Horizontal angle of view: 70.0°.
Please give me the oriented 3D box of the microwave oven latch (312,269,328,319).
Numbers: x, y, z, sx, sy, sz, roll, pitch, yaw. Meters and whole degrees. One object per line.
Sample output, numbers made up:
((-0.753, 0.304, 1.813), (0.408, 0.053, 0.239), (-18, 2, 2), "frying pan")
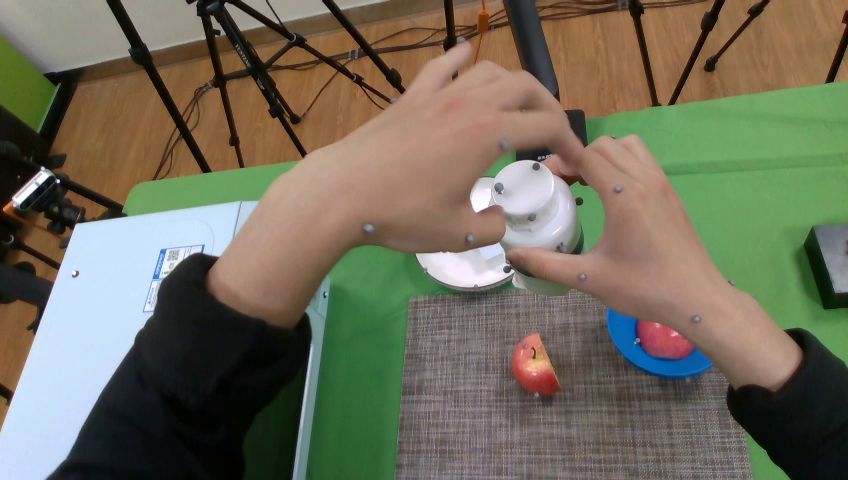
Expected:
((-0.173, 0.087, 0.974), (0.030, 0.030, 0.078), (-7, 60, 13), "microwave oven latch")

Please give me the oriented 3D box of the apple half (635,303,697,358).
((0.316, 0.114, 0.788), (0.081, 0.033, 0.080), (-8, 57, 14), "apple half")

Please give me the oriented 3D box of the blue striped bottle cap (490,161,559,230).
((0.067, -0.030, 0.408), (0.044, 0.021, 0.044), (-10, 59, 18), "blue striped bottle cap")

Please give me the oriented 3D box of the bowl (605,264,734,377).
((0.316, 0.115, 0.793), (0.151, 0.077, 0.150), (-8, 59, 14), "bowl")

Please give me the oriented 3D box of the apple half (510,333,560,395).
((0.145, 0.173, 0.818), (0.053, 0.075, 0.080), (-24, 60, 8), "apple half")

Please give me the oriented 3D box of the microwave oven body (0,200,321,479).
((-0.348, 0.208, 0.842), (0.325, 0.263, 0.438), (-6, 60, 13), "microwave oven body")

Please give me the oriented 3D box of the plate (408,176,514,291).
((0.079, -0.008, 0.971), (0.207, 0.039, 0.206), (-8, 59, 13), "plate")

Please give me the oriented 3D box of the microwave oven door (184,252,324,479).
((-0.209, 0.225, 0.782), (0.039, 0.246, 0.352), (-7, 59, 14), "microwave oven door")

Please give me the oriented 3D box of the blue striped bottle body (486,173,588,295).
((0.085, -0.008, 0.454), (0.063, 0.122, 0.062), (-9, 62, 17), "blue striped bottle body")
